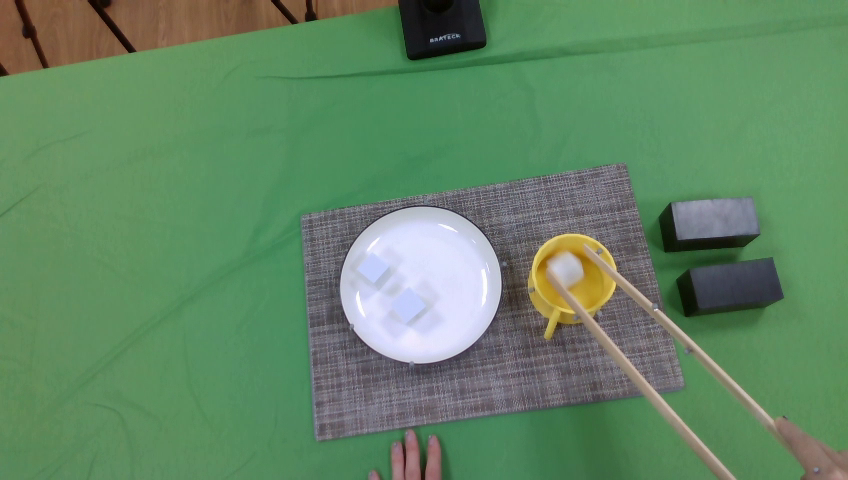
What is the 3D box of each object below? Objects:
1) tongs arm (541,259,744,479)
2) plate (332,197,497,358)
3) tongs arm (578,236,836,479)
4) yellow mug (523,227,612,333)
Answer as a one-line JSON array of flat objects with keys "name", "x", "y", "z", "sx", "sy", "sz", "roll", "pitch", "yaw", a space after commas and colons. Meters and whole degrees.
[{"name": "tongs arm", "x": 0.226, "y": 0.140, "z": 0.573, "sx": 0.028, "sy": 0.028, "sz": 0.383, "roll": -30, "pitch": 48, "yaw": -9}, {"name": "plate", "x": -0.011, "y": 0.049, "z": 0.774, "sx": 0.207, "sy": 0.039, "sz": 0.206, "roll": -1, "pitch": 73, "yaw": 4}, {"name": "tongs arm", "x": 0.254, "y": 0.123, "z": 0.575, "sx": 0.051, "sy": 0.027, "sz": 0.380, "roll": -33, "pitch": 48, "yaw": -7}, {"name": "yellow mug", "x": 0.169, "y": 0.054, "z": 0.742, "sx": 0.099, "sy": 0.064, "sz": 0.130, "roll": 22, "pitch": 76, "yaw": 11}]
